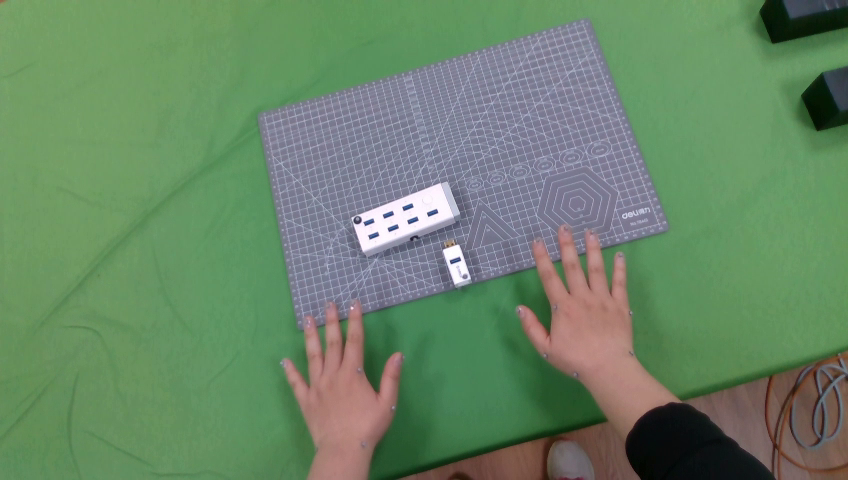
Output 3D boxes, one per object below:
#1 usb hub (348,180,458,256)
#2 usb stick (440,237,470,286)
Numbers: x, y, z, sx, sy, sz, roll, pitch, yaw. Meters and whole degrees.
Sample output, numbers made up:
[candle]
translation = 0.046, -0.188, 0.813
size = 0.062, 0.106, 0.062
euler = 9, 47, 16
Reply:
[usb hub]
translation = -0.025, -0.027, 0.727
size = 0.125, 0.025, 0.049
euler = -21, 73, 1
[usb stick]
translation = 0.034, 0.023, 0.705
size = 0.021, 0.027, 0.058
euler = -20, 70, 5
